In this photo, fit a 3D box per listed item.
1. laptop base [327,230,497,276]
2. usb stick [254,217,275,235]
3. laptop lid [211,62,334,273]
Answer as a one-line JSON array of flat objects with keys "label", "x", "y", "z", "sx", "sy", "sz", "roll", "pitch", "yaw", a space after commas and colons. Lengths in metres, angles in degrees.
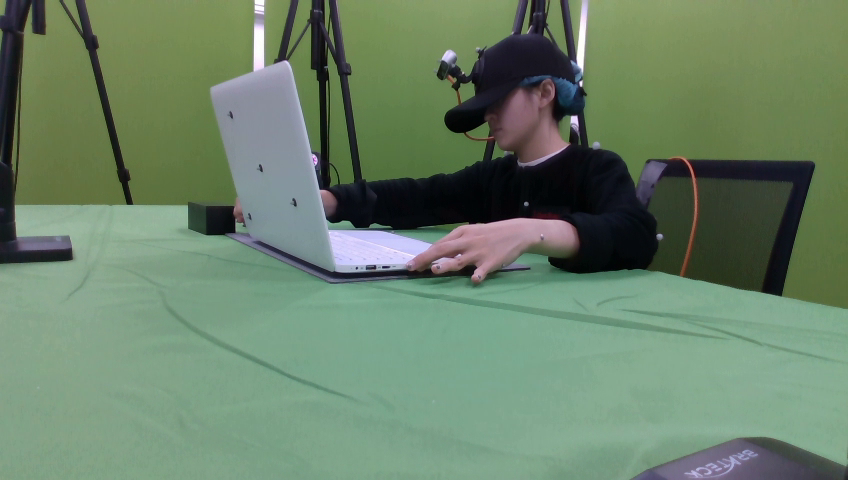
[{"label": "laptop base", "x": -0.091, "y": 0.016, "z": 0.884, "sx": 0.237, "sy": 0.023, "sz": 0.352, "roll": 2, "pitch": 6, "yaw": -32}, {"label": "usb stick", "x": -0.264, "y": -0.022, "z": 1.006, "sx": 0.021, "sy": 0.027, "sz": 0.059, "roll": -4, "pitch": 13, "yaw": -33}, {"label": "laptop lid", "x": -0.211, "y": -0.095, "z": 0.791, "sx": 0.013, "sy": 0.241, "sz": 0.355, "roll": -18, "pitch": 18, "yaw": -29}]
